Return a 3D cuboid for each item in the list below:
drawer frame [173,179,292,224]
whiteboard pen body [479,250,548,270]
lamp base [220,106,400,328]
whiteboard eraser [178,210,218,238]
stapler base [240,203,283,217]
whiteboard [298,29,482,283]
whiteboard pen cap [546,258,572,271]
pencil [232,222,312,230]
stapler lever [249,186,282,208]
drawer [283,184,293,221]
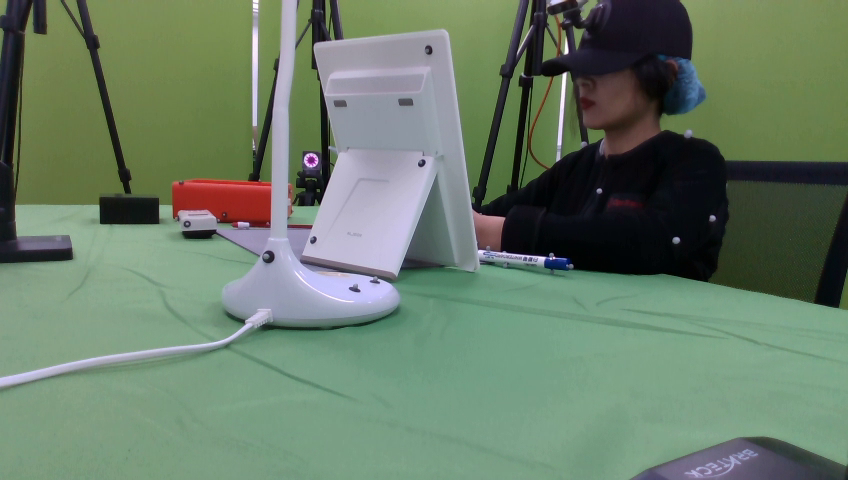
[{"bbox_3d":[-0.400,-0.086,1.300,0.214,0.082,0.201,1,8,-8],"label":"drawer frame"},{"bbox_3d":[0.130,0.028,0.827,0.140,0.017,0.017,7,9,38],"label":"whiteboard pen body"},{"bbox_3d":[-0.101,-0.023,0.531,0.160,0.180,0.179,4,10,10],"label":"lamp base"},{"bbox_3d":[-0.380,-0.027,1.014,0.056,0.042,0.112,0,8,-25],"label":"whiteboard eraser"},{"bbox_3d":[-0.349,-0.066,1.309,0.041,0.024,0.131,20,6,12],"label":"stapler base"},{"bbox_3d":[-0.075,-0.082,0.742,0.216,0.305,0.144,9,29,37],"label":"whiteboard"},{"bbox_3d":[0.175,0.032,0.790,0.033,0.018,0.018,3,6,37],"label":"whiteboard pen cap"},{"bbox_3d":[-0.261,-0.025,1.141,0.195,0.012,0.012,2,7,-26],"label":"pencil"},{"bbox_3d":[-0.341,-0.092,1.308,0.027,0.040,0.118,20,4,12],"label":"stapler lever"},{"bbox_3d":[-0.396,-0.085,1.301,0.212,0.073,0.194,1,8,-7],"label":"drawer"}]
